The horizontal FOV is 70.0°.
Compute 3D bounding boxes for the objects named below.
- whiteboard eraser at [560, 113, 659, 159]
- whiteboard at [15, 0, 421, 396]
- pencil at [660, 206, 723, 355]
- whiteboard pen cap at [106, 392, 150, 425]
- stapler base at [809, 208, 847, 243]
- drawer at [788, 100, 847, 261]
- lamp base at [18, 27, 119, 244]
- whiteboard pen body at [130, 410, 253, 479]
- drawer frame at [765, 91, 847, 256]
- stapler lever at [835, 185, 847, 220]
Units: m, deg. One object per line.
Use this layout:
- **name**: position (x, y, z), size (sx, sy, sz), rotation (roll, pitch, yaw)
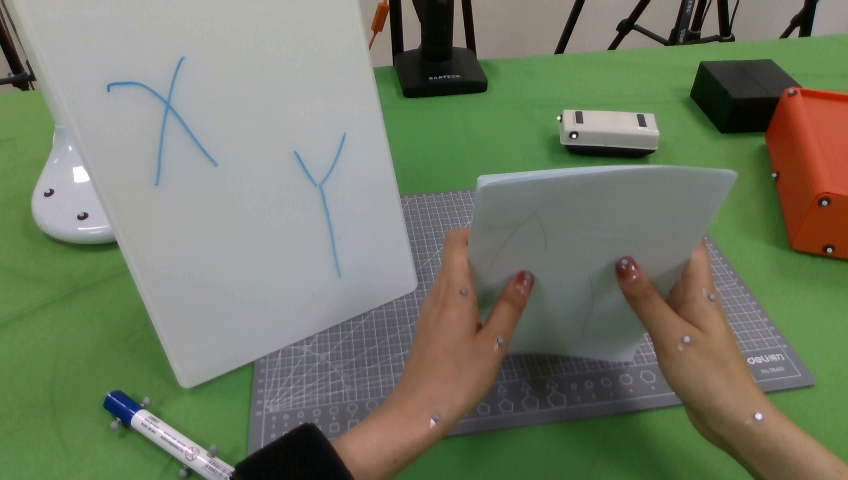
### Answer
- **whiteboard eraser**: position (0.223, -0.126, 0.735), size (0.112, 0.042, 0.055), rotation (5, 43, 5)
- **whiteboard**: position (-0.153, -0.069, 0.511), size (0.217, 0.308, 0.142), rotation (-21, 27, -21)
- **pencil**: position (0.253, 0.031, 0.577), size (0.012, 0.012, 0.192), rotation (1, 43, 2)
- **whiteboard pen cap**: position (-0.225, 0.129, 0.461), size (0.033, 0.018, 0.018), rotation (21, 46, 25)
- **stapler base**: position (0.461, -0.014, 0.606), size (0.130, 0.024, 0.041), rotation (9, 57, 9)
- **drawer**: position (0.486, -0.059, 0.632), size (0.194, 0.074, 0.210), rotation (11, 42, 13)
- **lamp base**: position (-0.343, -0.113, 0.610), size (0.178, 0.182, 0.160), rotation (22, 46, 26)
- **whiteboard pen body**: position (-0.176, 0.150, 0.438), size (0.140, 0.017, 0.017), rotation (21, 46, 23)
- **drawer frame**: position (0.486, -0.063, 0.634), size (0.201, 0.083, 0.212), rotation (10, 42, 11)
- **stapler lever**: position (0.462, -0.029, 0.585), size (0.118, 0.040, 0.026), rotation (10, 57, 8)
